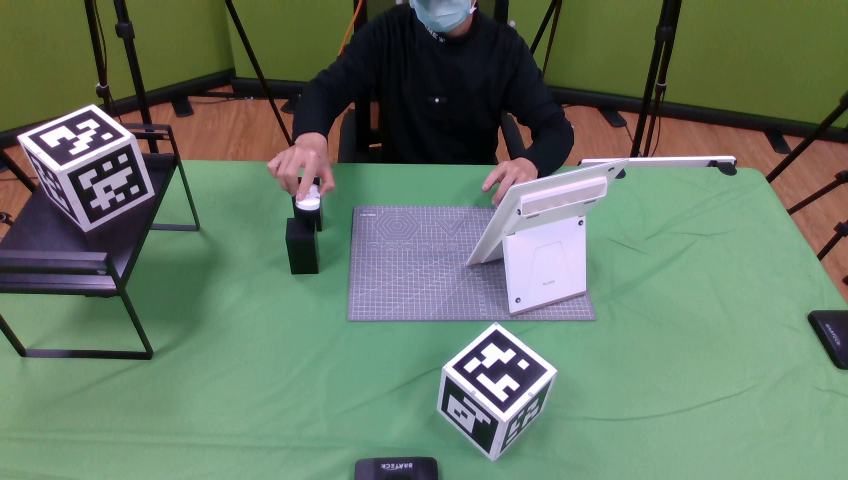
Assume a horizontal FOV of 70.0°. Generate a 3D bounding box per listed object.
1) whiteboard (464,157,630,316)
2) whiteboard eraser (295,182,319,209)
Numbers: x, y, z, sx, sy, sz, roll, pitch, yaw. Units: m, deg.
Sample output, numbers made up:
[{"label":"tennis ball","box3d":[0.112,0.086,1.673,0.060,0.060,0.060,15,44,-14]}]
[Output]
[{"label":"whiteboard","box3d":[0.224,0.014,1.043,0.217,0.306,0.143,-14,68,-17]},{"label":"whiteboard eraser","box3d":[-0.213,-0.082,1.100,0.041,0.019,0.100,9,23,-15]}]
